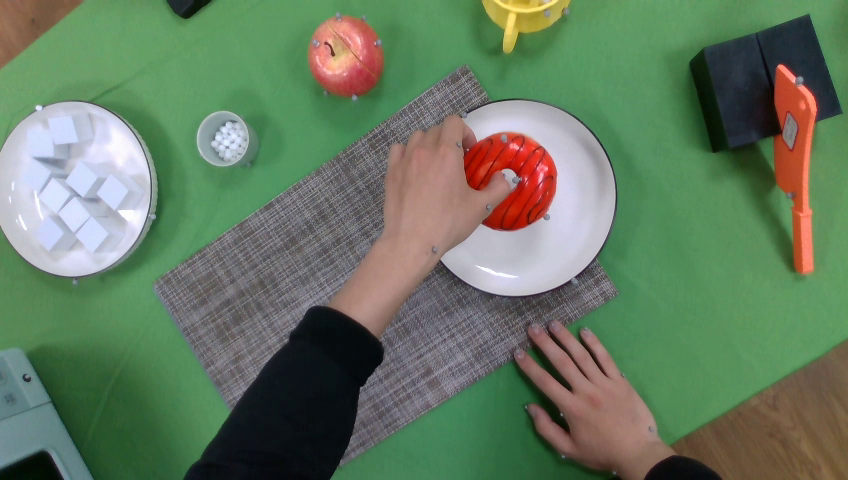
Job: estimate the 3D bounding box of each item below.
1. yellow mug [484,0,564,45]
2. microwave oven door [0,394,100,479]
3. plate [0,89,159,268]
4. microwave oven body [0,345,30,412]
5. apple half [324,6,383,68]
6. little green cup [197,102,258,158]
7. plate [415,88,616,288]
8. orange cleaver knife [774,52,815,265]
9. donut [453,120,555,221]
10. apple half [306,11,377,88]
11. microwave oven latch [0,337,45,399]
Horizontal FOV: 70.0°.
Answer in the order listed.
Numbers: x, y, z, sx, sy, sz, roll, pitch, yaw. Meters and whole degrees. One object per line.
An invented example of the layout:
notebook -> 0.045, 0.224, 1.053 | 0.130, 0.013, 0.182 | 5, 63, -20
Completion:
yellow mug -> 0.100, -0.267, 0.623 | 0.100, 0.064, 0.131 | 15, 96, 7
microwave oven door -> -0.393, 0.349, 0.616 | 0.039, 0.244, 0.355 | -31, 88, 8
plate -> -0.406, -0.071, 0.718 | 0.207, 0.039, 0.207 | 0, 93, 8
microwave oven body -> -0.538, 0.385, 0.643 | 0.326, 0.260, 0.441 | -31, 89, 8
apple half -> -0.066, -0.222, 0.644 | 0.033, 0.081, 0.081 | -42, 86, 12
little green cup -> -0.221, -0.122, 0.690 | 0.061, 0.038, 0.061 | 0, 93, 8
plate -> 0.095, -0.054, 0.644 | 0.209, 0.038, 0.209 | 0, 93, 8
orange cleaver knife -> 0.357, -0.074, 0.588 | 0.012, 0.076, 0.213 | -13, 121, 12
donut -> 0.078, -0.067, 0.588 | 0.099, 0.048, 0.099 | 2, 103, 9
apple half -> -0.094, -0.195, 0.651 | 0.053, 0.074, 0.081 | -42, 90, 12
microwave oven latch -> -0.488, 0.155, 0.722 | 0.030, 0.029, 0.079 | -27, 89, 8
